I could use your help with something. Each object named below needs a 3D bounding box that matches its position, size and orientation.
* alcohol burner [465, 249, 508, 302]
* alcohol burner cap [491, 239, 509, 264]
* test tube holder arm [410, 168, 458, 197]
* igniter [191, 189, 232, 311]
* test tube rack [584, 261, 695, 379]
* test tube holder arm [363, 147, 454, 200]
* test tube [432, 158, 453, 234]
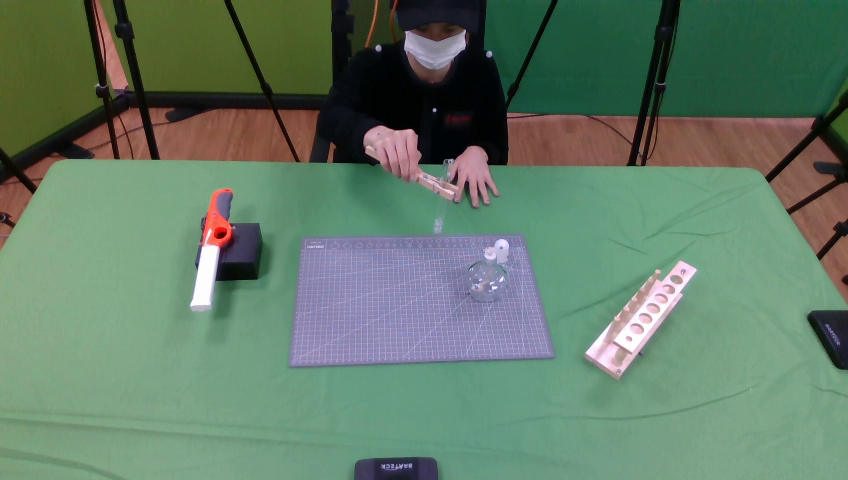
[{"bbox_3d":[0.114,0.057,1.085,0.078,0.120,0.077,2,48,-2],"label":"alcohol burner"},{"bbox_3d":[0.150,0.020,1.174,0.034,0.048,0.033,2,46,-2],"label":"alcohol burner cap"},{"bbox_3d":[0.014,-0.095,0.993,0.087,0.015,0.010,24,39,11],"label":"test tube holder arm"},{"bbox_3d":[-0.381,0.008,1.092,0.057,0.025,0.274,-1,50,-7],"label":"igniter"},{"bbox_3d":[0.380,0.127,1.062,0.066,0.085,0.242,34,53,26],"label":"test tube rack"},{"bbox_3d":[-0.028,-0.112,1.001,0.178,0.015,0.013,28,39,17],"label":"test tube holder arm"},{"bbox_3d":[0.029,-0.068,0.998,0.017,0.151,0.017,5,41,-4],"label":"test tube"}]
